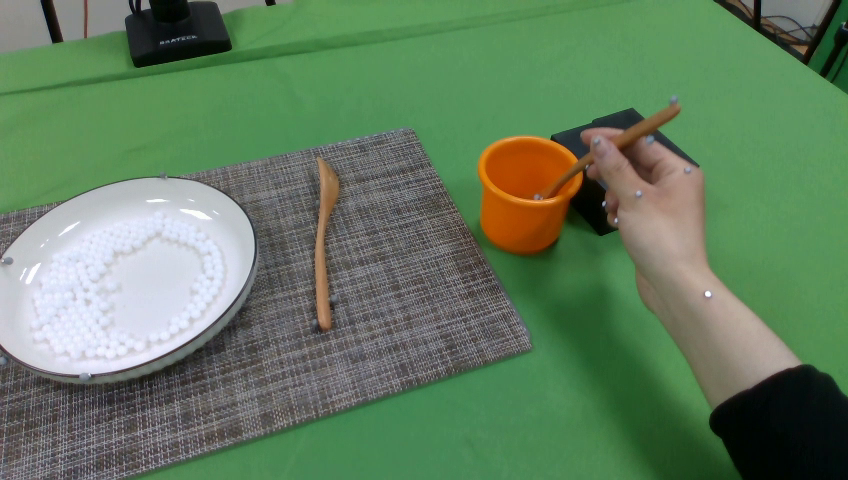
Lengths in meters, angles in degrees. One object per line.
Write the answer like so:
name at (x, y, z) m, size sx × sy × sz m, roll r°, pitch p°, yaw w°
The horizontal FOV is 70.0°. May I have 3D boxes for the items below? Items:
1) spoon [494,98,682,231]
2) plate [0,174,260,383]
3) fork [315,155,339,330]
spoon at (0.125, -0.057, 0.497) m, size 0.022 × 0.194 × 0.041 m, roll 30°, pitch 50°, yaw -18°
plate at (-0.239, 0.028, 0.504) m, size 0.209 × 0.038 × 0.207 m, roll 1°, pitch 48°, yaw 0°
fork at (-0.090, -0.006, 0.550) m, size 0.018 × 0.028 × 0.205 m, roll -23°, pitch 48°, yaw 21°
